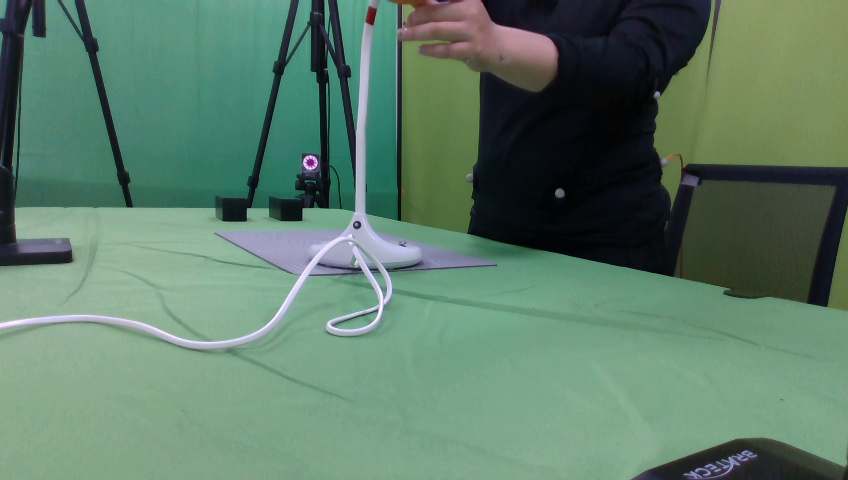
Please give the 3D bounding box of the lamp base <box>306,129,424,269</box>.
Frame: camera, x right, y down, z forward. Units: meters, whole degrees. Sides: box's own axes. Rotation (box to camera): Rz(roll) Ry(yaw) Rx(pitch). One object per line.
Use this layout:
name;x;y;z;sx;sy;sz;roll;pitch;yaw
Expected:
lamp base;-0.077;-0.057;0.810;0.161;0.180;0.179;2;10;-4

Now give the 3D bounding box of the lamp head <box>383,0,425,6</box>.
lamp head;-0.025;-0.325;0.670;0.112;0.123;0.112;4;3;0
